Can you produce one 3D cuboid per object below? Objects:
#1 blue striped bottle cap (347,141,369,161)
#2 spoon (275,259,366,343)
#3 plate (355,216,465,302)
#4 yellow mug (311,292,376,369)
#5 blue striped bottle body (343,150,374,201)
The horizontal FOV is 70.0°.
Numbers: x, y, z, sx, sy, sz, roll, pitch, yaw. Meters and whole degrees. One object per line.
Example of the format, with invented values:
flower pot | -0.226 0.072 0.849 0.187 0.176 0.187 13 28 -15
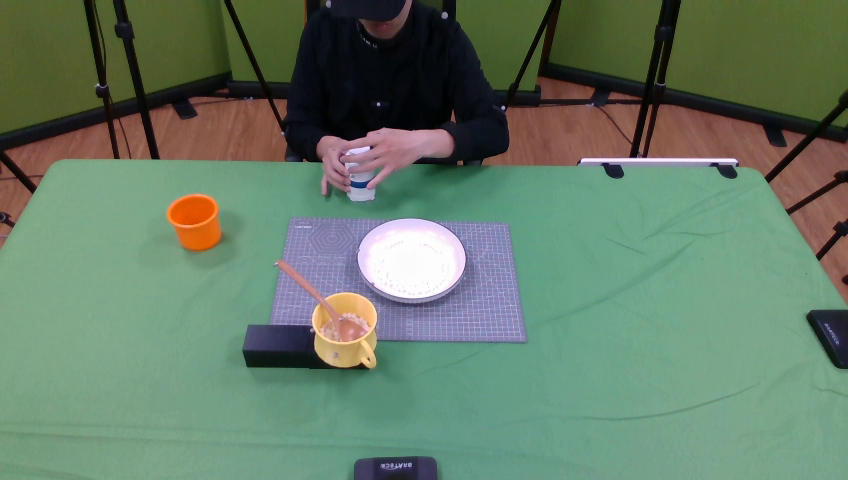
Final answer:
blue striped bottle cap | -0.133 -0.180 1.219 0.044 0.021 0.044 1 42 -1
spoon | -0.161 0.098 0.946 0.194 0.021 0.041 48 56 -5
plate | -0.027 0.039 1.144 0.208 0.039 0.206 2 46 -2
yellow mug | -0.115 0.150 0.945 0.100 0.064 0.130 -29 57 -28
blue striped bottle body | -0.135 -0.145 1.257 0.063 0.121 0.062 3 47 -2
